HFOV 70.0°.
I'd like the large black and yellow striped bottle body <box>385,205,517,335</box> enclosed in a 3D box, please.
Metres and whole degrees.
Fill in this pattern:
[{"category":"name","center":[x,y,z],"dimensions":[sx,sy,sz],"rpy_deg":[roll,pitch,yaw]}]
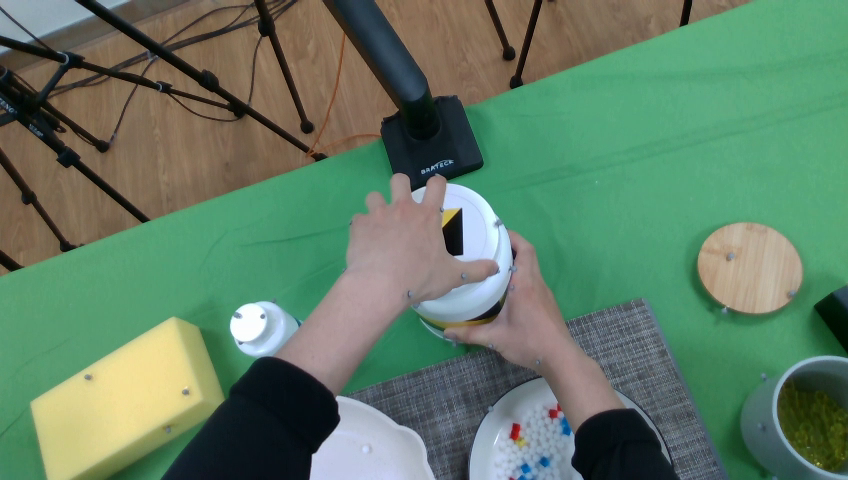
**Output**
[{"category":"large black and yellow striped bottle body","center":[0.032,0.023,0.664],"dimensions":[0.130,0.185,0.130],"rpy_deg":[-4,68,10]}]

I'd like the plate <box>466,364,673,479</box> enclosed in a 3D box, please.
[{"category":"plate","center":[0.148,0.236,0.634],"dimensions":[0.209,0.038,0.207],"rpy_deg":[-4,69,11]}]

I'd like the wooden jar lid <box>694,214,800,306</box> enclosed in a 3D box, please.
[{"category":"wooden jar lid","center":[0.362,0.023,0.684],"dimensions":[0.108,0.021,0.107],"rpy_deg":[-4,70,11]}]

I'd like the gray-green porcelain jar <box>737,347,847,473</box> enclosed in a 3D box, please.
[{"category":"gray-green porcelain jar","center":[0.363,0.165,0.572],"dimensions":[0.105,0.127,0.105],"rpy_deg":[-4,68,11]}]

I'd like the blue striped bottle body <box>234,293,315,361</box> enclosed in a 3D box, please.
[{"category":"blue striped bottle body","center":[-0.178,0.102,0.711],"dimensions":[0.063,0.122,0.062],"rpy_deg":[-4,69,10]}]

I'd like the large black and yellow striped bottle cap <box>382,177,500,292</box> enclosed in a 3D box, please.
[{"category":"large black and yellow striped bottle cap","center":[0.015,-0.007,0.585],"dimensions":[0.115,0.019,0.114],"rpy_deg":[-4,67,10]}]

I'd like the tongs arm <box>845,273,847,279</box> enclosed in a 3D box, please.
[{"category":"tongs arm","center":[0.511,0.194,0.549],"dimensions":[0.051,0.026,0.382],"rpy_deg":[-23,77,0]}]

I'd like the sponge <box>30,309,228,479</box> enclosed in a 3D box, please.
[{"category":"sponge","center":[-0.363,0.192,0.748],"dimensions":[0.207,0.061,0.117],"rpy_deg":[-31,67,-2]}]

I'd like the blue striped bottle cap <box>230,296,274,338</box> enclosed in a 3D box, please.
[{"category":"blue striped bottle cap","center":[-0.189,0.084,0.664],"dimensions":[0.044,0.021,0.044],"rpy_deg":[-5,66,13]}]

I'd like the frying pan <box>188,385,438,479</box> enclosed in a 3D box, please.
[{"category":"frying pan","center":[-0.054,0.369,0.590],"dimensions":[0.307,0.104,0.483],"rpy_deg":[-41,59,-4]}]
